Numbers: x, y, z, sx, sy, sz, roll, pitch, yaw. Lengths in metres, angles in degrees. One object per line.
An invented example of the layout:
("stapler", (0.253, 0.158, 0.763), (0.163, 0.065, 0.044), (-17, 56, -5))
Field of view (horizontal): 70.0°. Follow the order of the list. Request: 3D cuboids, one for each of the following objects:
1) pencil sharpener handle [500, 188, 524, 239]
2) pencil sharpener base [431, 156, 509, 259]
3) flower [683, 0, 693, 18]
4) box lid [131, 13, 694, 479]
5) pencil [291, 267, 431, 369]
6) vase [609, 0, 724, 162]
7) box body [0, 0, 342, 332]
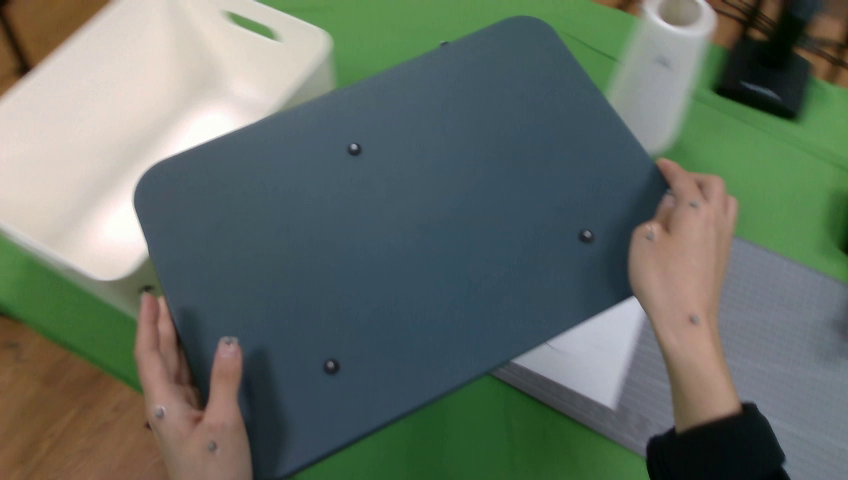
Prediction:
("pencil sharpener handle", (0.101, -0.026, 0.674), (0.030, 0.068, 0.035), (15, 54, 8))
("pencil sharpener base", (0.052, -0.034, 0.692), (0.076, 0.108, 0.061), (15, 60, 8))
("flower", (0.285, -0.241, 0.664), (0.044, 0.365, 0.038), (19, 44, 15))
("box lid", (-0.011, -0.020, 0.458), (0.372, 0.015, 0.261), (-26, 70, -9))
("pencil", (-0.066, 0.083, 0.680), (0.194, 0.012, 0.012), (-35, 65, -20))
("vase", (0.285, -0.186, 0.729), (0.098, 0.201, 0.097), (0, 58, 1))
("box body", (-0.282, -0.104, 0.698), (0.253, 0.161, 0.362), (26, 63, 14))
